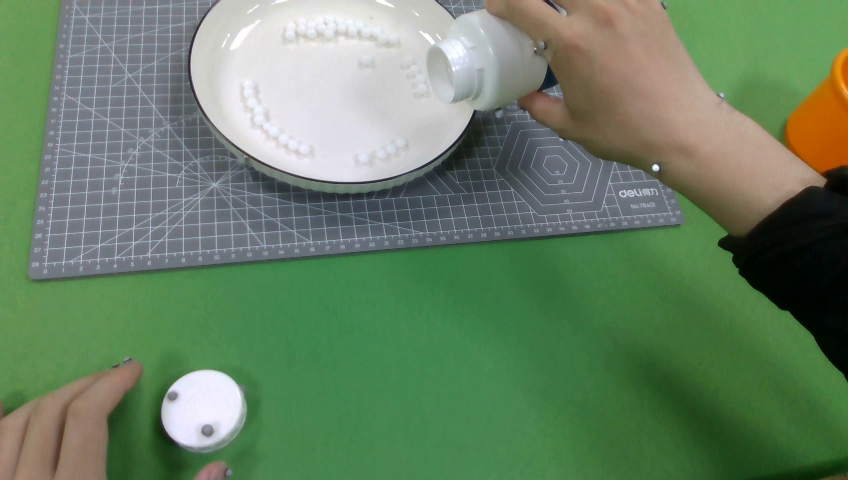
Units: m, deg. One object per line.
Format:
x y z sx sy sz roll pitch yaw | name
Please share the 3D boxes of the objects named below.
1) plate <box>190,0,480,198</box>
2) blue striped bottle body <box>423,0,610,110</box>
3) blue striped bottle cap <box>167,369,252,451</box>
-0.061 -0.116 0.449 0.208 0.039 0.206 4 62 -8 | plate
0.060 -0.128 0.409 0.121 0.063 0.062 -22 68 -20 | blue striped bottle body
-0.122 0.096 0.346 0.044 0.021 0.044 3 65 -5 | blue striped bottle cap
